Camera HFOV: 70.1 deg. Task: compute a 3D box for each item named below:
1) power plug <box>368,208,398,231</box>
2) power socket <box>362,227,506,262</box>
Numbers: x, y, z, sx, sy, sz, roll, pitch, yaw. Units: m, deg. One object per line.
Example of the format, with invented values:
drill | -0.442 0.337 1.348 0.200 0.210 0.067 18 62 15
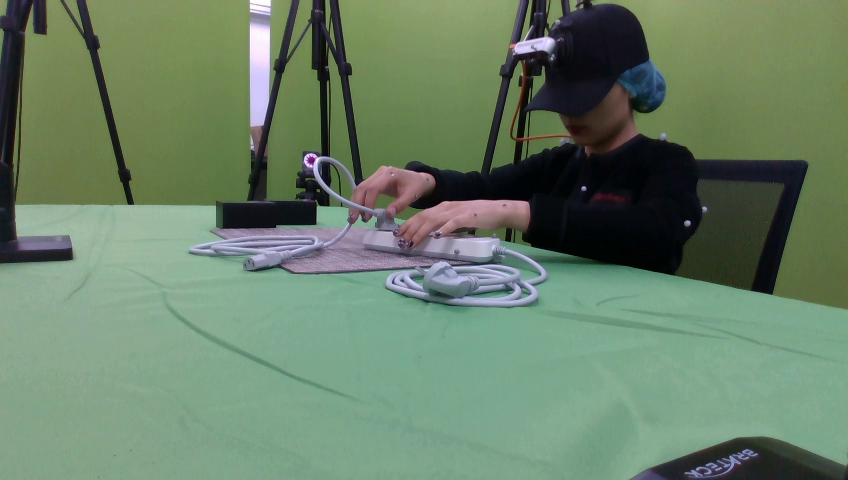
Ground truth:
power plug | -0.070 -0.022 0.914 0.035 0.052 0.073 9 9 39
power socket | 0.009 0.004 0.909 0.226 0.032 0.072 7 9 28
